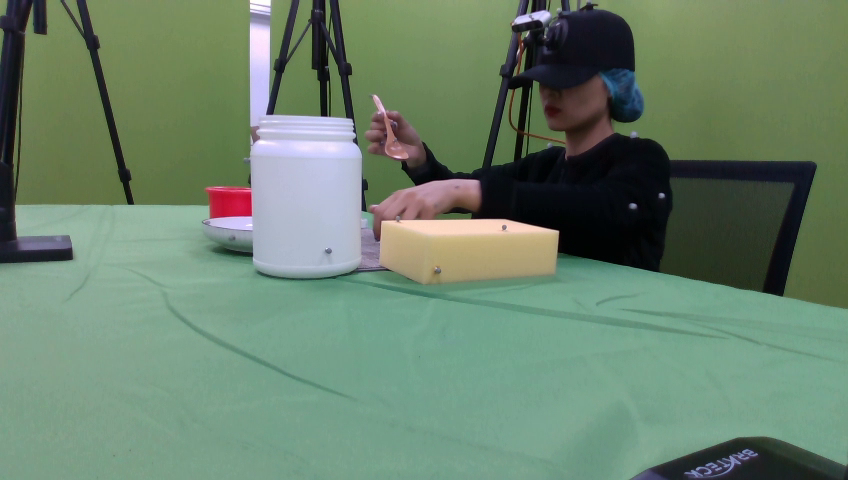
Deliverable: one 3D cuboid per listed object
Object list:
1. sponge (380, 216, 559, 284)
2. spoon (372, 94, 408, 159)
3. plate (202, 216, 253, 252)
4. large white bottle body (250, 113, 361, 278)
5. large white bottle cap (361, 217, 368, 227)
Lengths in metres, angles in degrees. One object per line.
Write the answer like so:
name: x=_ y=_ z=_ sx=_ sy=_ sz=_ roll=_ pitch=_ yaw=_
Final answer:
sponge: x=0.059 y=0.008 z=0.786 sx=0.208 sy=0.061 sz=0.117 roll=-3 pitch=11 yaw=-32
spoon: x=-0.068 y=-0.214 z=1.125 sx=0.042 sy=0.021 sz=0.193 roll=-1 pitch=52 yaw=-25
plate: x=-0.223 y=-0.010 z=0.909 sx=0.209 sy=0.038 sz=0.209 roll=2 pitch=7 yaw=0
large white bottle body: x=-0.141 y=-0.057 z=0.727 sx=0.131 sy=0.184 sz=0.130 roll=1 pitch=10 yaw=0
large white bottle cap: x=-0.171 y=-0.038 z=1.234 sx=0.115 sy=0.018 sz=0.115 roll=2 pitch=5 yaw=0
